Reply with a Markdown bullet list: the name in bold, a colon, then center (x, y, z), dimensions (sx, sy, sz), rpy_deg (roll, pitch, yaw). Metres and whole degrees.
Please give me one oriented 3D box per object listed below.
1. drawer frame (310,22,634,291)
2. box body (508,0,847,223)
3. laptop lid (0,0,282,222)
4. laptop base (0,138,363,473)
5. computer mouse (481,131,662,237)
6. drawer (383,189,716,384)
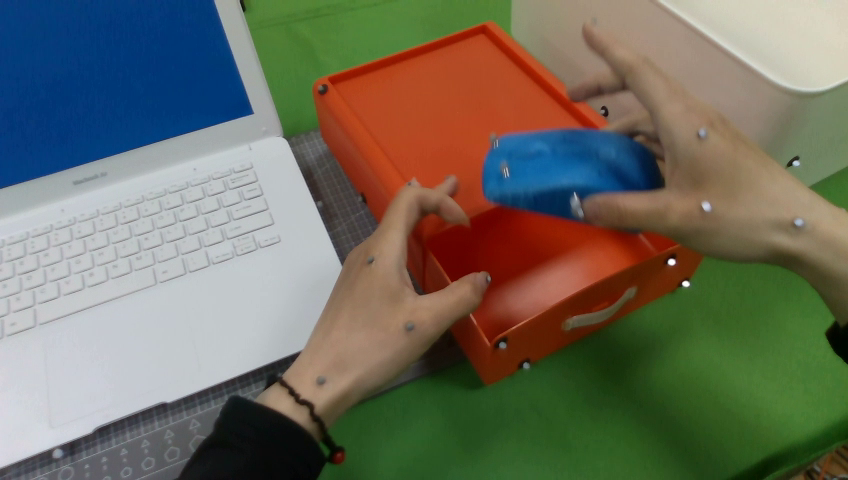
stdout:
- **drawer frame**: center (0.035, -0.084, 0.541), dimensions (0.202, 0.083, 0.211), rpy_deg (-26, 55, -17)
- **box body**: center (0.271, -0.212, 0.583), dimensions (0.254, 0.162, 0.360), rpy_deg (-25, 55, -16)
- **laptop lid**: center (-0.326, -0.141, 0.513), dimensions (0.357, 0.243, 0.013), rpy_deg (-22, 25, -13)
- **laptop base**: center (-0.251, 0.045, 0.495), dimensions (0.355, 0.023, 0.233), rpy_deg (-20, 57, -13)
- **computer mouse**: center (0.097, -0.042, 0.398), dimensions (0.117, 0.041, 0.062), rpy_deg (10, 49, 9)
- **drawer**: center (0.081, -0.018, 0.491), dimensions (0.195, 0.074, 0.209), rpy_deg (-24, 54, -16)
